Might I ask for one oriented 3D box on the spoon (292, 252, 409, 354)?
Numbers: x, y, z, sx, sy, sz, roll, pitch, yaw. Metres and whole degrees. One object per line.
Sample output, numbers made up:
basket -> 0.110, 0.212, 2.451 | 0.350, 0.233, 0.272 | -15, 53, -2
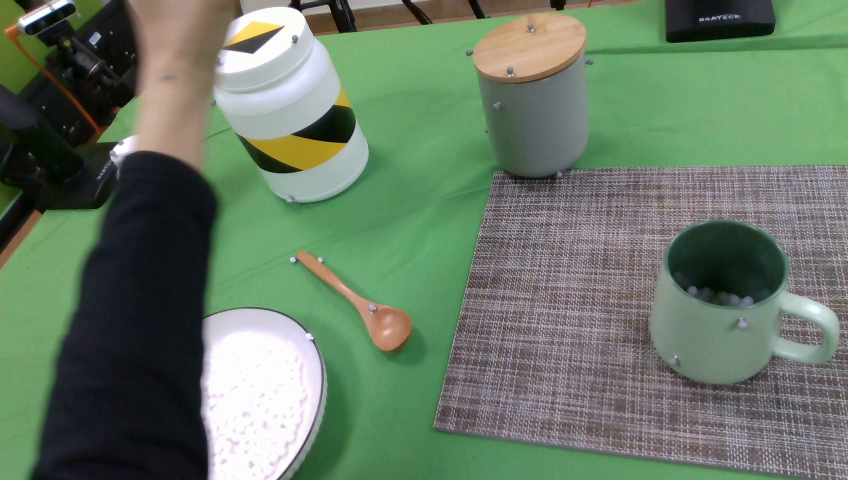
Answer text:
spoon -> -0.080, 0.054, 0.603 | 0.192, 0.022, 0.041 | 34, 86, 36

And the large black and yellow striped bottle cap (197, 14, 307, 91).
large black and yellow striped bottle cap -> -0.177, -0.195, 0.622 | 0.115, 0.019, 0.114 | -9, 48, 10

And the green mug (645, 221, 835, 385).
green mug -> 0.228, 0.053, 0.443 | 0.124, 0.106, 0.092 | 21, 60, 31

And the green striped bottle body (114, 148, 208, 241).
green striped bottle body -> -0.311, -0.059, 0.707 | 0.063, 0.120, 0.062 | -9, 49, 11

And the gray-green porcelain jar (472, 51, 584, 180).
gray-green porcelain jar -> 0.111, -0.135, 0.629 | 0.106, 0.128, 0.105 | -9, 45, 9

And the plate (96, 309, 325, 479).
plate -> -0.183, 0.158, 0.539 | 0.209, 0.038, 0.207 | -9, 49, 11

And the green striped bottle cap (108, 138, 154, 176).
green striped bottle cap -> -0.323, -0.092, 0.669 | 0.044, 0.020, 0.044 | -7, 51, 9

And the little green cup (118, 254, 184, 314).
little green cup -> -0.297, 0.050, 0.666 | 0.061, 0.039, 0.061 | -9, 48, 11

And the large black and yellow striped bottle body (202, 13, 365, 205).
large black and yellow striped bottle body -> -0.155, -0.144, 0.685 | 0.130, 0.186, 0.129 | -9, 49, 11

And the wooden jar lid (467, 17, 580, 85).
wooden jar lid -> 0.097, -0.178, 0.585 | 0.108, 0.021, 0.107 | -11, 46, 12
